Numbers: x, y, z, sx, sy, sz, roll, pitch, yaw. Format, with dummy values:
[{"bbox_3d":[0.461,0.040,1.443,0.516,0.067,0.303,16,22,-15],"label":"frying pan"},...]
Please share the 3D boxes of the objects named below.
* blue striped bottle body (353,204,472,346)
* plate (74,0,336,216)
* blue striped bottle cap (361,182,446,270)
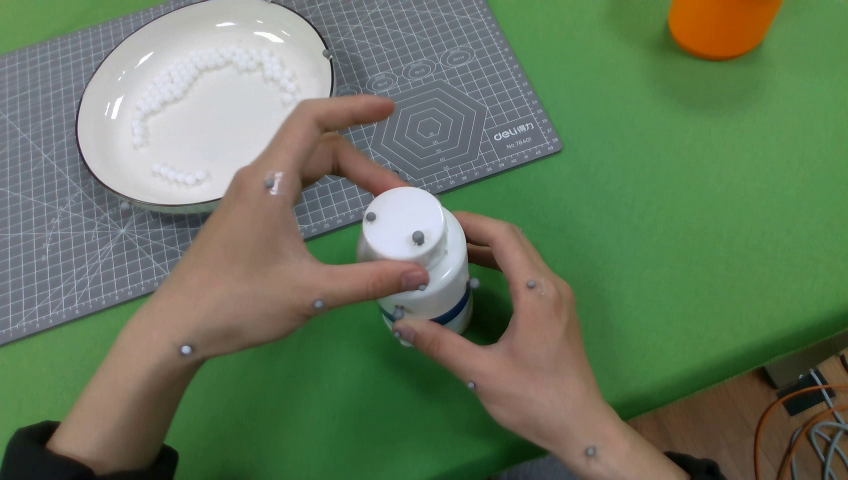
[{"bbox_3d":[-0.005,0.017,0.365,0.063,0.122,0.062,-3,63,6],"label":"blue striped bottle body"},{"bbox_3d":[-0.170,-0.107,0.489,0.207,0.039,0.206,-2,64,5],"label":"plate"},{"bbox_3d":[-0.010,-0.008,0.318,0.044,0.021,0.044,-1,67,3],"label":"blue striped bottle cap"}]
